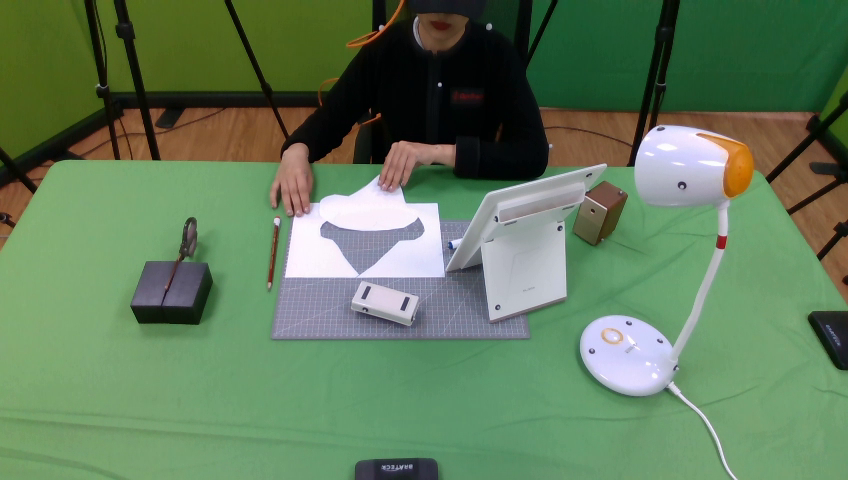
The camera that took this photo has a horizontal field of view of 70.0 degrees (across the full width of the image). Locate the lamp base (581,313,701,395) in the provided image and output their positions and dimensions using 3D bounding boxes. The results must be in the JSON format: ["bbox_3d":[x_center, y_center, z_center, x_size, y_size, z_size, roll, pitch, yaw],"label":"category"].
[{"bbox_3d":[0.361,0.144,0.973,0.178,0.181,0.160,34,53,23],"label":"lamp base"}]

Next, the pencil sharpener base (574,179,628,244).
[{"bbox_3d":[0.355,-0.057,1.217,0.076,0.107,0.061,-33,56,-31],"label":"pencil sharpener base"}]

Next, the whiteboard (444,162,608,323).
[{"bbox_3d":[0.186,0.025,1.029,0.217,0.306,0.143,-14,68,-18],"label":"whiteboard"}]

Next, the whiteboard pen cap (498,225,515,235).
[{"bbox_3d":[0.166,-0.019,1.222,0.033,0.018,0.018,-14,49,-19],"label":"whiteboard pen cap"}]

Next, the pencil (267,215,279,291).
[{"bbox_3d":[-0.291,0.022,1.164,0.012,0.012,0.192,-2,48,-6],"label":"pencil"}]

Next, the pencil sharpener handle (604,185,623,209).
[{"bbox_3d":[0.390,-0.091,1.235,0.030,0.068,0.036,-33,69,-31],"label":"pencil sharpener handle"}]

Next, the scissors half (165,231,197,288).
[{"bbox_3d":[-0.441,0.036,1.098,0.013,0.040,0.174,12,28,-10],"label":"scissors half"}]

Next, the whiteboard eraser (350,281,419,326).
[{"bbox_3d":[-0.069,0.113,1.065,0.112,0.042,0.055,14,46,9],"label":"whiteboard eraser"}]

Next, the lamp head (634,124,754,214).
[{"bbox_3d":[0.351,-0.089,0.775,0.112,0.113,0.122,-30,30,-28],"label":"lamp head"}]

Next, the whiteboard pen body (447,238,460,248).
[{"bbox_3d":[0.112,-0.005,1.204,0.141,0.017,0.017,-14,49,-18],"label":"whiteboard pen body"}]

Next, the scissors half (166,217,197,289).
[{"bbox_3d":[-0.436,0.020,1.086,0.013,0.040,0.174,7,47,-7],"label":"scissors half"}]
